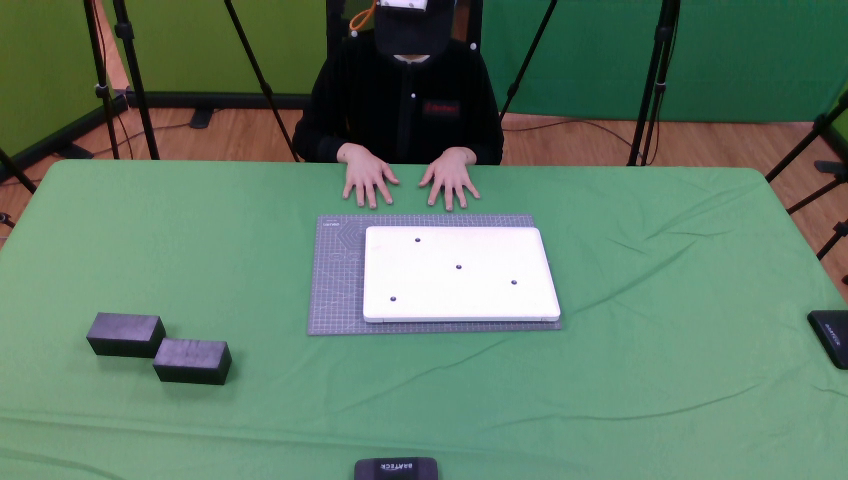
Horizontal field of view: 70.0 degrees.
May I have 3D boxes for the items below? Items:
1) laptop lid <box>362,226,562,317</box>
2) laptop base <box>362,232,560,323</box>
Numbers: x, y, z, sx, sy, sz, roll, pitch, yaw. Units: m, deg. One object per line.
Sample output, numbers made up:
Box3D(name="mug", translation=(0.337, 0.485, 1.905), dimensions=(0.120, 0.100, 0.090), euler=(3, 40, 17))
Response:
Box3D(name="laptop lid", translation=(0.064, 0.053, 1.136), dimensions=(0.357, 0.013, 0.240), euler=(1, 44, -3))
Box3D(name="laptop base", translation=(0.064, 0.063, 1.143), dimensions=(0.355, 0.023, 0.234), euler=(0, 43, -4))
